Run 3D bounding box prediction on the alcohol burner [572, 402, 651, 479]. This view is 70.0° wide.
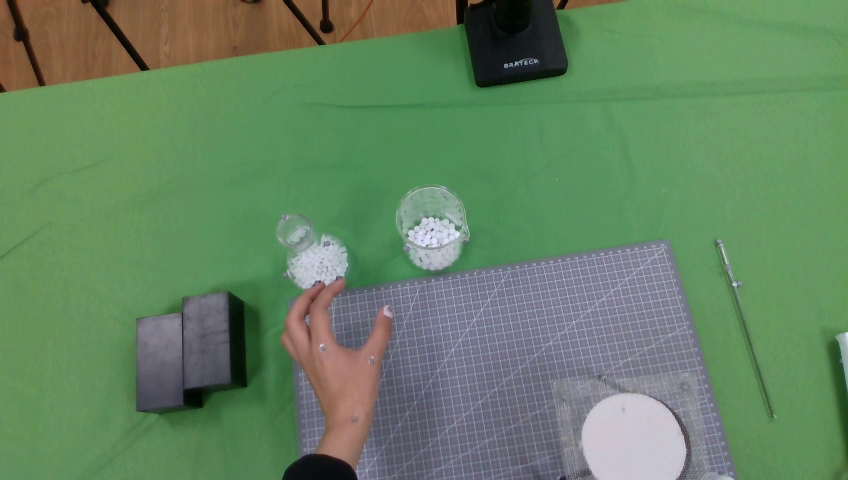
[{"bbox_3d":[0.185,0.196,0.589,0.078,0.120,0.077,-1,72,5],"label":"alcohol burner"}]

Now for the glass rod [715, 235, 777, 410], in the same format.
[{"bbox_3d":[0.357,0.087,0.673,0.008,0.008,0.198,-9,72,-1],"label":"glass rod"}]

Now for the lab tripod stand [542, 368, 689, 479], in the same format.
[{"bbox_3d":[0.183,0.192,0.580,0.148,0.132,0.147,-1,74,3],"label":"lab tripod stand"}]

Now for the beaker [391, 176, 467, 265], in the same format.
[{"bbox_3d":[0.009,-0.016,0.676,0.084,0.101,0.074,26,75,10],"label":"beaker"}]

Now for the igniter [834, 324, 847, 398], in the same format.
[{"bbox_3d":[0.457,0.223,0.617,0.057,0.025,0.275,5,72,-7],"label":"igniter"}]

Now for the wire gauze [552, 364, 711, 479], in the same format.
[{"bbox_3d":[0.178,0.170,0.517,0.125,0.011,0.120,-4,74,3],"label":"wire gauze"}]

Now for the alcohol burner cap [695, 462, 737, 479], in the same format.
[{"bbox_3d":[0.296,0.241,0.607,0.034,0.048,0.033,-1,72,3],"label":"alcohol burner cap"}]

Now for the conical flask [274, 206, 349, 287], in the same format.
[{"bbox_3d":[-0.128,0.002,0.664,0.075,0.122,0.075,-1,72,2],"label":"conical flask"}]
